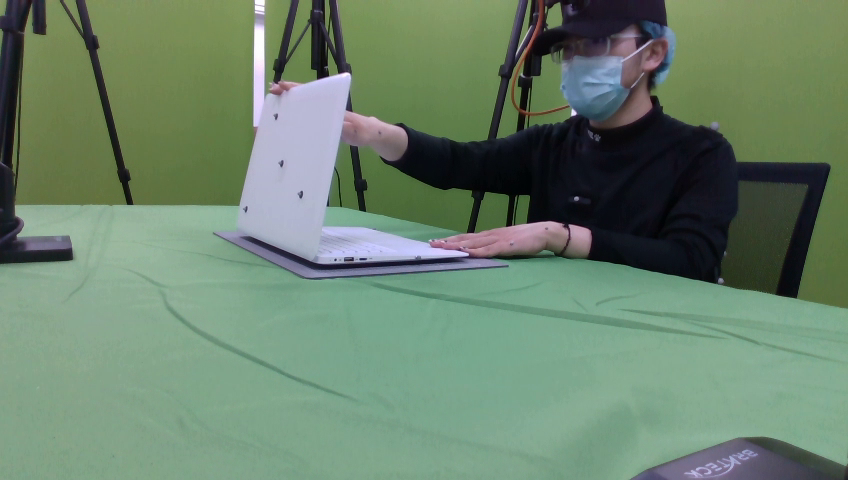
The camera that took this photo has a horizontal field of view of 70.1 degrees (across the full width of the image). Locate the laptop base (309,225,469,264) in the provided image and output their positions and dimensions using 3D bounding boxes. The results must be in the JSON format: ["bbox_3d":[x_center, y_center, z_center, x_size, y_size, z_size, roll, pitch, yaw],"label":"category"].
[{"bbox_3d":[-0.124,0.005,0.936,0.237,0.023,0.352,2,6,-33],"label":"laptop base"}]

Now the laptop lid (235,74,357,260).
[{"bbox_3d":[-0.200,-0.110,0.869,0.013,0.241,0.355,14,1,-33],"label":"laptop lid"}]
